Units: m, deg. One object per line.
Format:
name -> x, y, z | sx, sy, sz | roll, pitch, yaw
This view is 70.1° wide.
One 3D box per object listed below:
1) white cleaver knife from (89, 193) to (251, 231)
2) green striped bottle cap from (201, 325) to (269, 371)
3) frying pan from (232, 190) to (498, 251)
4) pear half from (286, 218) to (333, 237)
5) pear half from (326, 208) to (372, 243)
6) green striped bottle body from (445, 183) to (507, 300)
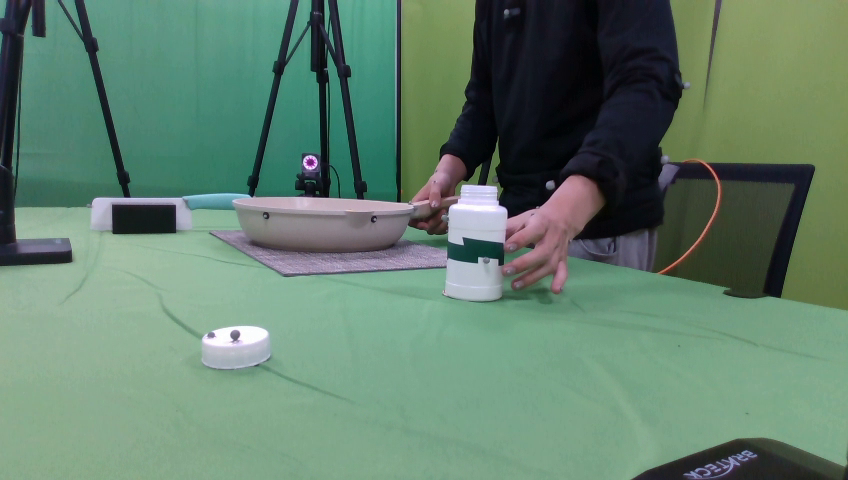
white cleaver knife -> -0.454, -0.052, 1.114 | 0.288, 0.066, 0.021 | -4, 14, -27
green striped bottle cap -> -0.129, 0.073, 0.415 | 0.044, 0.020, 0.044 | 3, 8, 0
frying pan -> -0.073, -0.051, 1.047 | 0.490, 0.102, 0.305 | -11, 13, -27
pear half -> -0.197, -0.022, 1.054 | 0.088, 0.031, 0.070 | -9, 17, -44
pear half -> -0.128, -0.026, 1.017 | 0.076, 0.056, 0.109 | 5, 4, -19
green striped bottle body -> 0.055, 0.000, 0.644 | 0.063, 0.119, 0.063 | 2, 7, 0
